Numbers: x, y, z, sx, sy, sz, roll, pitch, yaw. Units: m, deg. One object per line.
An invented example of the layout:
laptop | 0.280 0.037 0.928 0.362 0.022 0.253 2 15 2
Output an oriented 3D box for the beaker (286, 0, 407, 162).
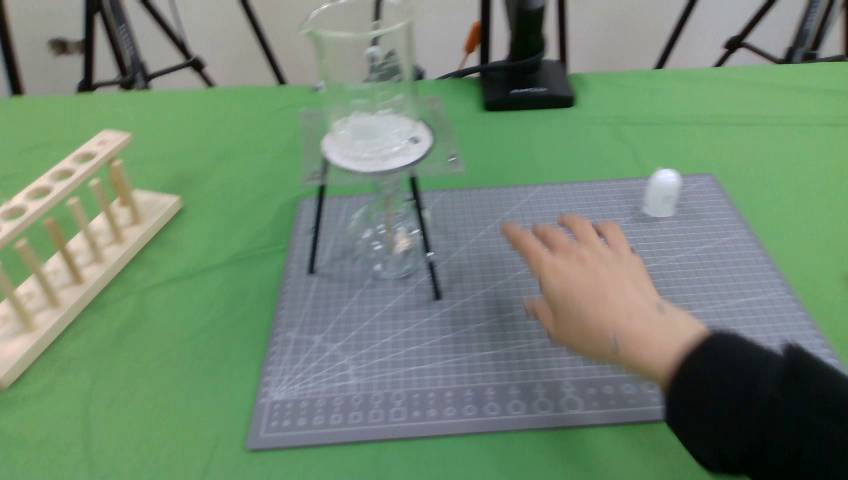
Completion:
beaker | -0.053 -0.116 0.454 0.084 0.101 0.073 -8 40 -4

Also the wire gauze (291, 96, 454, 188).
wire gauze | -0.046 -0.080 0.487 0.125 0.011 0.120 -9 39 -3

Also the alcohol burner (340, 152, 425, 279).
alcohol burner | -0.038 -0.024 0.537 0.078 0.120 0.077 -2 39 2

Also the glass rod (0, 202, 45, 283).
glass rod | -0.363 -0.044 0.502 0.008 0.201 0.008 -5 34 4

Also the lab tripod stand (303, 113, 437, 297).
lab tripod stand | -0.044 -0.030 0.529 0.148 0.133 0.147 -2 42 2

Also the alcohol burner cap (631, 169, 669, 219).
alcohol burner cap | 0.229 -0.049 0.608 0.034 0.048 0.033 -2 40 2

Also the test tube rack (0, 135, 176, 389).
test tube rack | -0.332 0.006 0.544 0.066 0.086 0.240 9 42 13
